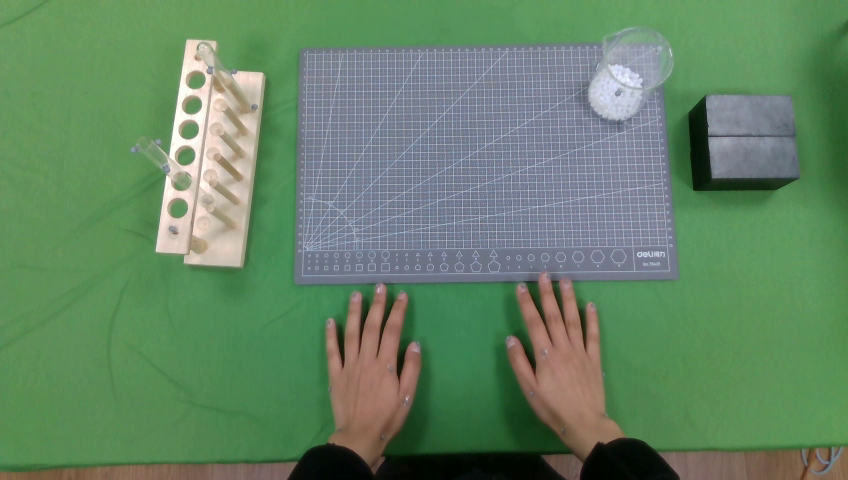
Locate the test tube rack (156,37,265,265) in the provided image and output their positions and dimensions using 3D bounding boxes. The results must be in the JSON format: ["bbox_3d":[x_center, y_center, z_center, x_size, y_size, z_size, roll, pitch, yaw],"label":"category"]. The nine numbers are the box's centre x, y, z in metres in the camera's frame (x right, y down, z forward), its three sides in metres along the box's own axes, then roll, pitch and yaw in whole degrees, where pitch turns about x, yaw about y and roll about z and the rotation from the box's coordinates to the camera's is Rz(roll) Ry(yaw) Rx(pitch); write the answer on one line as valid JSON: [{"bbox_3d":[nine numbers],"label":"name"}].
[{"bbox_3d":[-0.241,-0.099,0.697,0.067,0.085,0.241,4,80,2],"label":"test tube rack"}]

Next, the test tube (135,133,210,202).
[{"bbox_3d":[-0.262,-0.072,0.643,0.017,0.151,0.017,-1,73,3],"label":"test tube"}]

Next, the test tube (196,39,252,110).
[{"bbox_3d":[-0.217,-0.178,0.665,0.017,0.151,0.017,0,79,0],"label":"test tube"}]

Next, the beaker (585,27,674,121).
[{"bbox_3d":[0.229,-0.188,0.699,0.084,0.100,0.074,36,82,8],"label":"beaker"}]
